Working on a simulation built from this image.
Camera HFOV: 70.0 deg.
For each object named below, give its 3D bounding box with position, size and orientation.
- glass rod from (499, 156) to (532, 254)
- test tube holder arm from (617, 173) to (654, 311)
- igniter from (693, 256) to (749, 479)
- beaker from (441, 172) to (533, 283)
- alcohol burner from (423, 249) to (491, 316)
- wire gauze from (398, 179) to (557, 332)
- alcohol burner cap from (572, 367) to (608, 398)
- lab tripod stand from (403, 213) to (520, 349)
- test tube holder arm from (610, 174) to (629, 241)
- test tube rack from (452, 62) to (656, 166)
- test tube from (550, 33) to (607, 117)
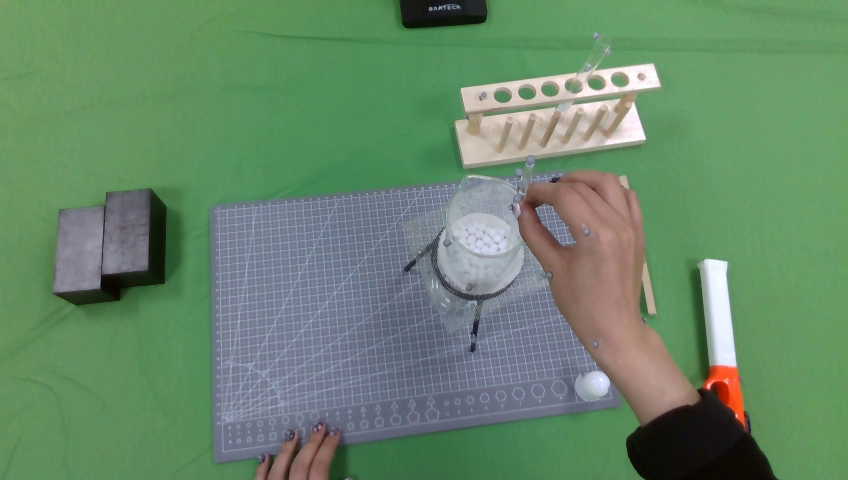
[{"bbox_3d":[0.073,-0.022,0.503,0.008,0.201,0.008,0,71,2],"label":"glass rod"},{"bbox_3d":[0.259,0.000,0.747,0.013,0.015,0.177,-17,70,26],"label":"test tube holder arm"},{"bbox_3d":[0.337,0.151,0.694,0.057,0.025,0.274,8,70,-11],"label":"igniter"},{"bbox_3d":[0.051,-0.007,0.554,0.074,0.101,0.083,-21,72,-8],"label":"beaker"},{"bbox_3d":[0.038,0.042,0.668,0.078,0.120,0.077,1,68,-2],"label":"alcohol burner"},{"bbox_3d":[0.051,0.011,0.599,0.121,0.011,0.124,-23,74,-7],"label":"wire gauze"},{"bbox_3d":[0.186,0.156,0.673,0.034,0.048,0.033,1,70,-2],"label":"alcohol burner cap"},{"bbox_3d":[0.044,0.036,0.659,0.148,0.132,0.147,0,71,-1],"label":"lab tripod stand"},{"bbox_3d":[0.249,-0.041,0.763,0.010,0.015,0.087,-17,70,26],"label":"test tube holder arm"},{"bbox_3d":[0.162,-0.158,0.763,0.243,0.085,0.066,-9,71,-6],"label":"test tube rack"},{"bbox_3d":[0.181,-0.192,0.724,0.017,0.151,0.017,3,68,-8],"label":"test tube"}]
